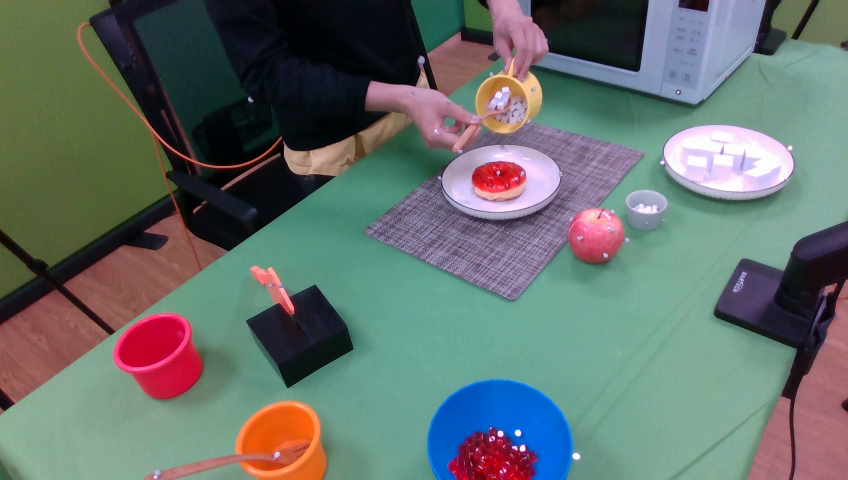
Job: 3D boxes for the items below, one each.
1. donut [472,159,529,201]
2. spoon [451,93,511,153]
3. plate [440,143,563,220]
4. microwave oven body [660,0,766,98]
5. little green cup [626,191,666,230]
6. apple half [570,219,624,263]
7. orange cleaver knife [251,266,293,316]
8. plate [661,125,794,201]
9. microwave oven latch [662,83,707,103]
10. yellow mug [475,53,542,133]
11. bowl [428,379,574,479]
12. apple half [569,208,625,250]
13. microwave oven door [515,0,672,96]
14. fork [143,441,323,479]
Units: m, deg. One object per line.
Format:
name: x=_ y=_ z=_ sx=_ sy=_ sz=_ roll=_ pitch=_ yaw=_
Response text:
donut: x=0.132 y=-0.105 z=1.043 sx=0.099 sy=0.048 sz=0.098 roll=-5 pitch=38 yaw=4
spoon: x=0.088 y=-0.188 z=0.957 sx=0.041 sy=0.021 sz=0.194 roll=27 pitch=43 yaw=16
plate: x=0.134 y=-0.098 z=1.052 sx=0.209 sy=0.038 sz=0.208 roll=-4 pitch=40 yaw=4
microwave oven body: x=0.472 y=-0.513 z=1.317 sx=0.438 sy=0.261 sz=0.327 roll=26 pitch=51 yaw=34
little green cup: x=0.352 y=-0.046 z=0.963 sx=0.061 sy=0.039 sz=0.061 roll=-4 pitch=40 yaw=4
apple half: x=0.250 y=0.009 z=0.885 sx=0.081 sy=0.081 sz=0.033 roll=7 pitch=39 yaw=17
orange cleaver knife: x=-0.221 y=0.071 z=0.873 sx=0.012 sy=0.077 sz=0.210 roll=-25 pitch=11 yaw=-21
plate: x=0.513 y=-0.128 z=1.035 sx=0.207 sy=0.039 sz=0.206 roll=-4 pitch=40 yaw=4
microwave oven latch: x=0.517 y=-0.296 z=1.204 sx=0.078 sy=0.029 sz=0.030 roll=27 pitch=52 yaw=35
yellow mug: x=0.148 y=-0.256 z=1.039 sx=0.099 sy=0.131 sz=0.064 roll=21 pitch=33 yaw=19
bowl: x=0.082 y=0.233 z=0.644 sx=0.151 sy=0.077 sz=0.150 roll=-4 pitch=40 yaw=4
apple half: x=0.262 y=-0.014 z=0.913 sx=0.080 sy=0.075 sz=0.053 roll=5 pitch=37 yaw=20
microwave oven door: x=0.343 y=-0.455 z=1.259 sx=0.353 sy=0.245 sz=0.039 roll=26 pitch=51 yaw=33
fork: x=-0.189 y=0.231 z=0.631 sx=0.028 sy=0.018 sz=0.209 roll=35 pitch=13 yaw=37
